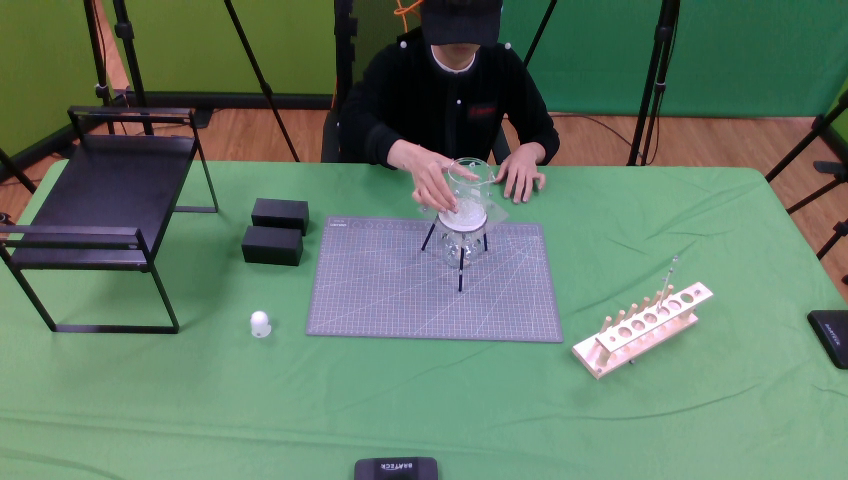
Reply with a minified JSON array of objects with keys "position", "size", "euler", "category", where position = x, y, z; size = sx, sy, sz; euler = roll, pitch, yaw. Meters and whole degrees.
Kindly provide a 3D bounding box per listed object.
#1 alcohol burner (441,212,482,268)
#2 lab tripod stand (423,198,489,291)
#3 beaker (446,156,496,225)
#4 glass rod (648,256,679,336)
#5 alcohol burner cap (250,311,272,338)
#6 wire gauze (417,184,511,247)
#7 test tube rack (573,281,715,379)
[{"position":[0.071,-0.005,1.136],"size":[0.078,0.120,0.077],"euler":[1,44,0],"category":"alcohol burner"},{"position":[0.064,-0.002,1.119],"size":[0.148,0.132,0.147],"euler":[1,47,0],"category":"lab tripod stand"},{"position":[0.078,-0.081,1.037],"size":[0.084,0.101,0.073],"euler":[15,48,13],"category":"beaker"},{"position":[0.390,0.095,0.990],"size":[0.008,0.201,0.008],"euler":[-2,45,2],"category":"glass rod"},{"position":[-0.278,0.141,1.026],"size":[0.034,0.048,0.033],"euler":[1,46,-1],"category":"alcohol burner cap"},{"position":[0.071,-0.049,1.074],"size":[0.121,0.011,0.124],"euler":[-31,52,-30],"category":"wire gauze"},{"position":[0.378,0.140,1.038],"size":[0.242,0.085,0.066],"euler":[-22,51,-22],"category":"test tube rack"}]
